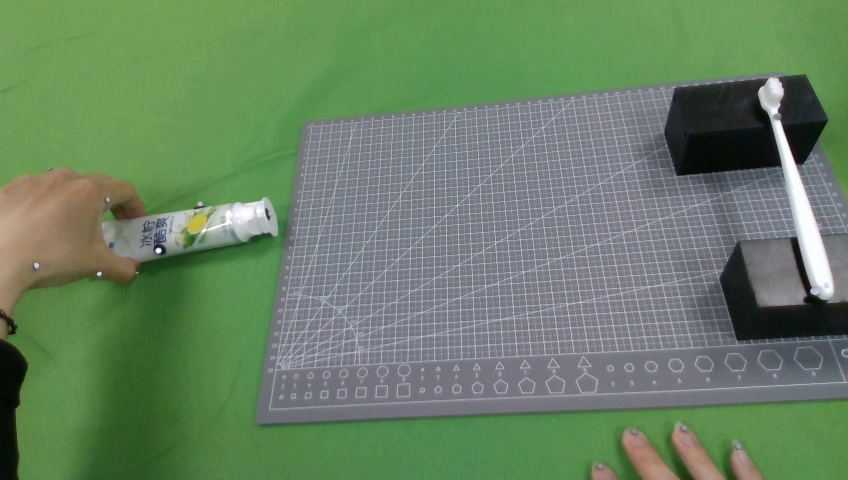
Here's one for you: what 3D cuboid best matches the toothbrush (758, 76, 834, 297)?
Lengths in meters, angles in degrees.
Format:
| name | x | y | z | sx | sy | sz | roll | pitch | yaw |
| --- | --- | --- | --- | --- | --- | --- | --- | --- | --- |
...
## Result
| name | x | y | z | sx | sy | sz | roll | pitch | yaw |
| --- | --- | --- | --- | --- | --- | --- | --- | --- | --- |
| toothbrush | 0.254 | -0.044 | 0.414 | 0.014 | 0.017 | 0.180 | 7 | 59 | -1 |

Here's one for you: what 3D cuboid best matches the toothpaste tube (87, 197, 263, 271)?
| name | x | y | z | sx | sy | sz | roll | pitch | yaw |
| --- | --- | --- | --- | --- | --- | --- | --- | --- | --- |
| toothpaste tube | -0.214 | -0.012 | 0.527 | 0.165 | 0.035 | 0.054 | -10 | 57 | 6 |

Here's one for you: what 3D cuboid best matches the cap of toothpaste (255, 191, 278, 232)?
| name | x | y | z | sx | sy | sz | roll | pitch | yaw |
| --- | --- | --- | --- | --- | --- | --- | --- | --- | --- |
| cap of toothpaste | -0.135 | -0.024 | 0.518 | 0.011 | 0.038 | 0.037 | -14 | 56 | 0 |
